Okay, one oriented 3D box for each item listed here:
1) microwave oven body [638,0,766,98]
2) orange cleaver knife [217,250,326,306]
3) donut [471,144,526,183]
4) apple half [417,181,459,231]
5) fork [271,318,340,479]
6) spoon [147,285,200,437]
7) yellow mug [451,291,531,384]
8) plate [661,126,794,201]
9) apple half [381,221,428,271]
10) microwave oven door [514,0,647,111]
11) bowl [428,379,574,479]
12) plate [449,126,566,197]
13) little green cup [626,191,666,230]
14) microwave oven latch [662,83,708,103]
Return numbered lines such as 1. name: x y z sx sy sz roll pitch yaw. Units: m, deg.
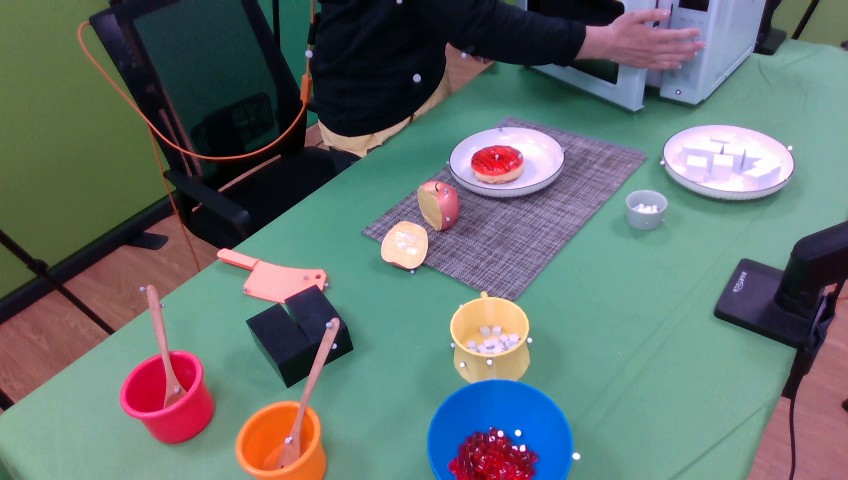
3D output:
1. microwave oven body: 0.472 -0.513 1.317 0.438 0.261 0.327 26 51 34
2. orange cleaver knife: -0.248 0.059 0.945 0.210 0.012 0.077 12 49 20
3. donut: 0.133 -0.139 1.082 0.099 0.048 0.098 -5 39 5
4. apple half: 0.030 -0.060 0.995 0.053 0.075 0.080 -23 39 -22
5. fork: -0.132 0.186 0.676 0.028 0.019 0.207 17 90 28
6. spoon: -0.318 0.148 0.754 0.042 0.021 0.193 -15 85 -9
7. yellow mug: 0.085 0.120 0.786 0.100 0.064 0.130 -7 39 1
8. plate: 0.513 -0.128 1.035 0.207 0.039 0.206 -4 40 4
9. apple half: -0.024 0.012 0.946 0.081 0.033 0.081 -5 73 16
10. microwave oven door: 0.314 -0.436 1.241 0.039 0.245 0.352 -29 45 -23
11. bowl: 0.082 0.233 0.644 0.151 0.077 0.150 -4 39 4
12. plate: 0.150 -0.138 1.096 0.209 0.038 0.208 -4 40 4
13. little green cup: 0.352 -0.046 0.963 0.061 0.039 0.061 -4 40 4
14. microwave oven latch: 0.518 -0.297 1.204 0.078 0.029 0.030 28 52 36
